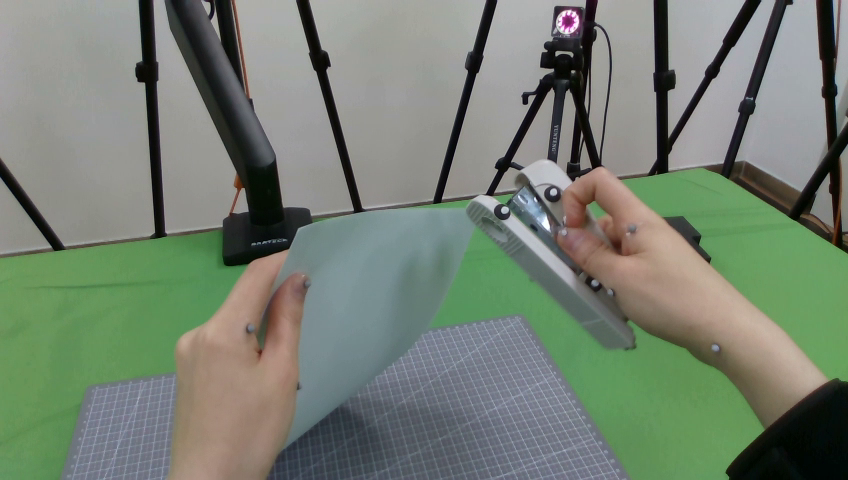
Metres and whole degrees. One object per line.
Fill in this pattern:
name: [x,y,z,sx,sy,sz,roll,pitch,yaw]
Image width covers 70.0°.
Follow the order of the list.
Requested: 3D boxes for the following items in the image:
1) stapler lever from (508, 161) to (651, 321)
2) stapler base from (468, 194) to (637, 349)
stapler lever: [0.102,-0.001,0.386,0.040,0.027,0.118,-44,87,-12]
stapler base: [0.083,0.015,0.380,0.130,0.041,0.024,45,77,3]
